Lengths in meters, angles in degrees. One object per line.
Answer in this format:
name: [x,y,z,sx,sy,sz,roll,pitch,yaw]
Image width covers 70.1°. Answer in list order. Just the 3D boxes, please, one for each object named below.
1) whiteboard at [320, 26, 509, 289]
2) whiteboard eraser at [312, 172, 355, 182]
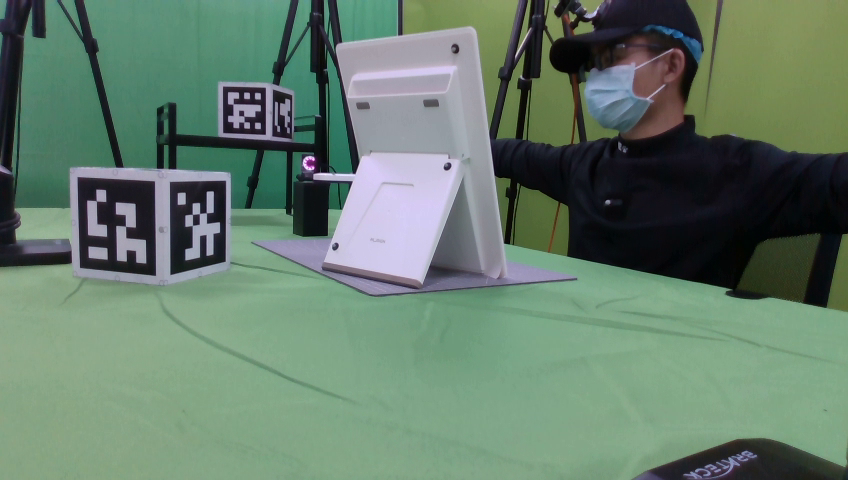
whiteboard: [-0.046,-0.076,0.721,0.216,0.305,0.144,9,29,39]
whiteboard eraser: [-0.165,-0.121,1.155,0.102,0.019,0.041,-2,6,-34]
